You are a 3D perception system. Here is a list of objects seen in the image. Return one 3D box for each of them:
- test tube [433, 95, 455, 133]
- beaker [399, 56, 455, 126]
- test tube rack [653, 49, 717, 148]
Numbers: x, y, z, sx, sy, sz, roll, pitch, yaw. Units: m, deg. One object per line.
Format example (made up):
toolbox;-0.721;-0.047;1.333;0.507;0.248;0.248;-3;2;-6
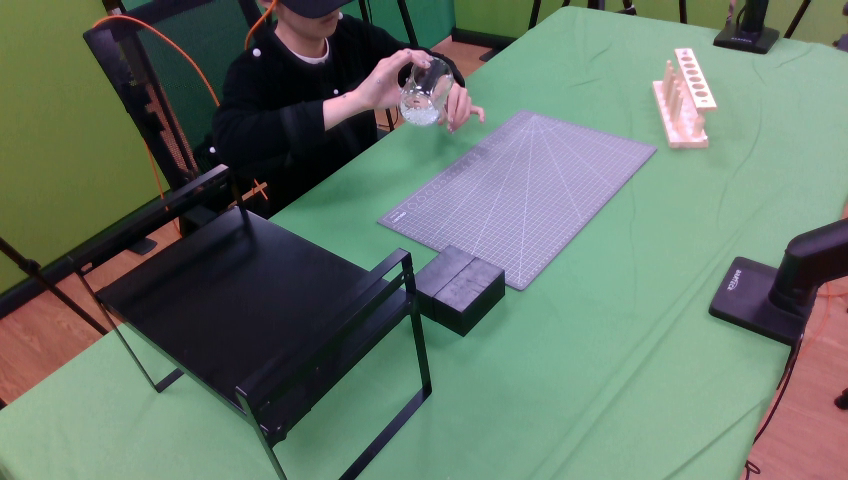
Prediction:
test tube;0.039;-0.229;1.111;0.017;0.151;0.017;-2;79;12
beaker;0.004;-0.237;0.984;0.073;0.084;0.100;3;46;18
test tube rack;0.502;-0.281;1.177;0.066;0.085;0.241;1;41;10
